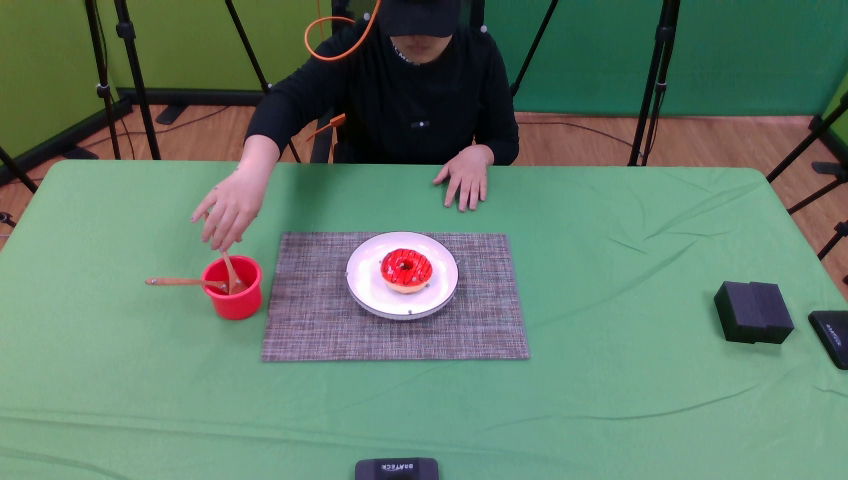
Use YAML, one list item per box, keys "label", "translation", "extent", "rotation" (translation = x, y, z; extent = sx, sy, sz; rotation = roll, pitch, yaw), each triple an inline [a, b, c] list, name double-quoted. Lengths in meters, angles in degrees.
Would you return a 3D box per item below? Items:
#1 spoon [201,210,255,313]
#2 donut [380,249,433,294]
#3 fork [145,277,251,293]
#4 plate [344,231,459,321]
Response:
- label: "spoon"
  translation: [-0.343, 0.037, 1.052]
  extent: [0.041, 0.021, 0.194]
  rotation: [-23, 96, -33]
- label: "donut"
  translation: [-0.032, 0.056, 1.111]
  extent: [0.099, 0.048, 0.098]
  rotation: [4, 43, -3]
- label: "fork"
  translation: [-0.368, 0.073, 1.006]
  extent: [0.018, 0.208, 0.028]
  rotation: [-26, 71, 23]
- label: "plate"
  translation: [-0.042, 0.068, 1.115]
  extent: [0.209, 0.038, 0.208]
  rotation: [2, 46, -2]
